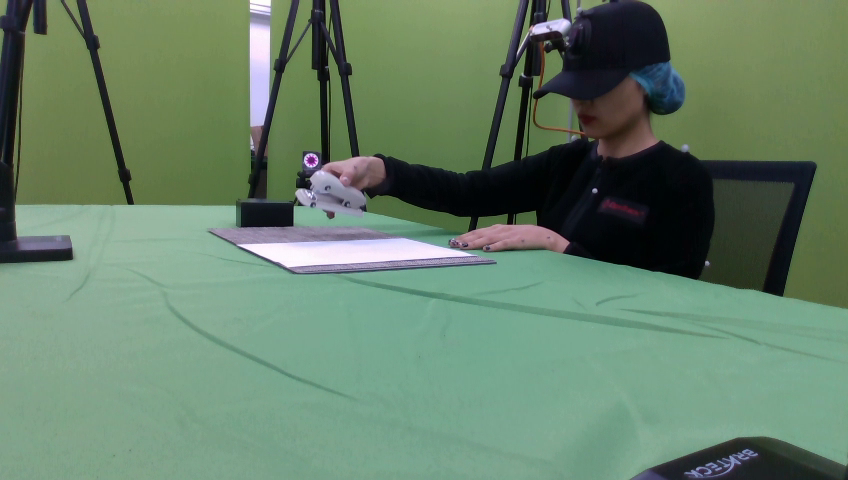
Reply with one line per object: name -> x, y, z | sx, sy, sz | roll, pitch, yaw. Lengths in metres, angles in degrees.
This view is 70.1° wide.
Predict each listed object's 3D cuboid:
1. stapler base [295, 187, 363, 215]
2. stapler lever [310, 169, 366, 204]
stapler base -> -0.157, -0.072, 1.034 | 0.131, 0.024, 0.041 | 11, 35, -47
stapler lever -> -0.142, -0.090, 1.026 | 0.119, 0.040, 0.026 | 11, 36, -47
